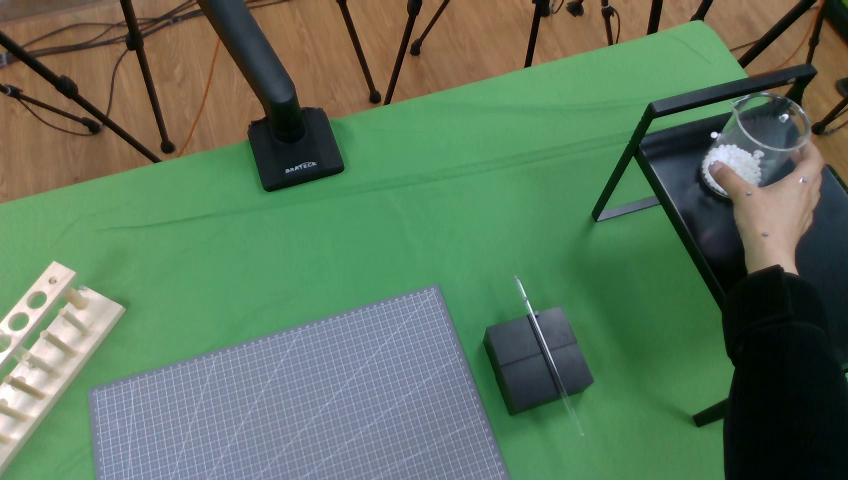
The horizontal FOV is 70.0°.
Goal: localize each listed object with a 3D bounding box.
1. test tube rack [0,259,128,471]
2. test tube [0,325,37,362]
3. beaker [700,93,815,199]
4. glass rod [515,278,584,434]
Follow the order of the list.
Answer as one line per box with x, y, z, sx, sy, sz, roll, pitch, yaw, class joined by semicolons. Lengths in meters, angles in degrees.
-0.466;0.149;0.704;0.066;0.086;0.241;25;65;11;test tube rack
-0.471;0.104;0.671;0.017;0.151;0.017;2;58;-3;test tube
0.346;-0.097;0.645;0.083;0.101;0.074;33;66;14;beaker
0.147;0.133;0.720;0.008;0.008;0.198;-16;65;-9;glass rod
